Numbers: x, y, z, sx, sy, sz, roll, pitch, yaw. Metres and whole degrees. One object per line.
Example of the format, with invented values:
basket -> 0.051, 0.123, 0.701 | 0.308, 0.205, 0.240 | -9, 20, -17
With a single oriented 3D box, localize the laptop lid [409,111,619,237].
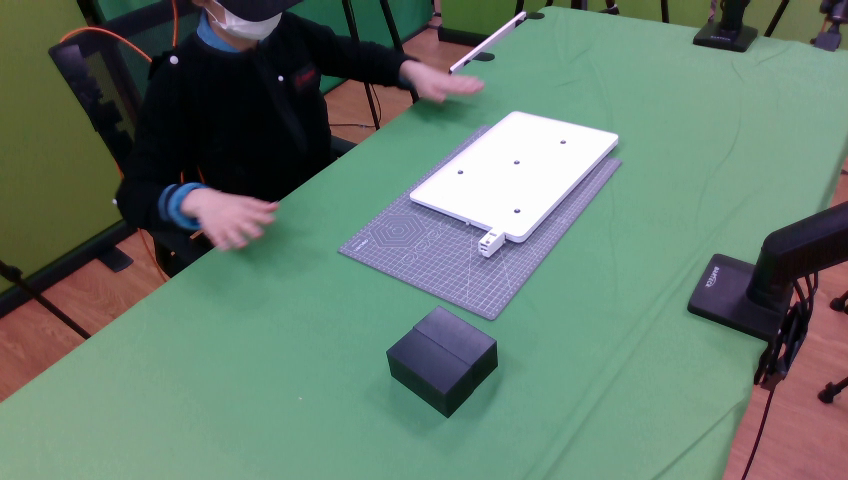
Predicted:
laptop lid -> 0.167, -0.137, 1.089 | 0.239, 0.013, 0.358 | 24, 48, 34

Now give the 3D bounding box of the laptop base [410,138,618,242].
laptop base -> 0.170, -0.127, 1.096 | 0.233, 0.023, 0.355 | 21, 47, 34

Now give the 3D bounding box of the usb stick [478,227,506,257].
usb stick -> 0.109, -0.001, 0.934 | 0.021, 0.027, 0.059 | 23, 43, 33
